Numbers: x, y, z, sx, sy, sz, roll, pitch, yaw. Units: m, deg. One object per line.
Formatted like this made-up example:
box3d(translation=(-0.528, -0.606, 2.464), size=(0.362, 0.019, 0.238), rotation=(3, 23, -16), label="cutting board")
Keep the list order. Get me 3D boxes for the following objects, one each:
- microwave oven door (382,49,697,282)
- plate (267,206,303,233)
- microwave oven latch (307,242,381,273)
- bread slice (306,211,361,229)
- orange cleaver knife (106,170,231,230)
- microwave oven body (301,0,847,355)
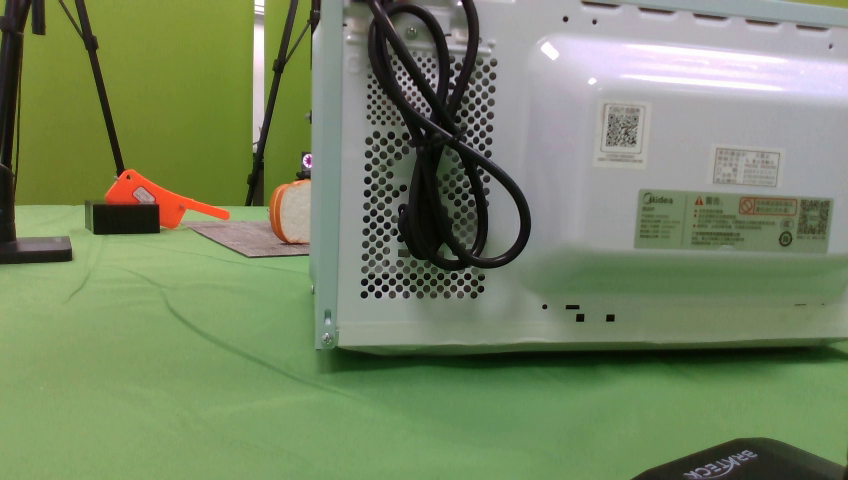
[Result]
box3d(translation=(0.135, -0.077, 0.685), size=(0.357, 0.243, 0.039), rotation=(1, 8, -12), label="microwave oven door")
box3d(translation=(-0.197, -0.039, 1.175), size=(0.208, 0.039, 0.207), rotation=(2, 7, 0), label="plate")
box3d(translation=(-0.086, 0.019, 0.655), size=(0.079, 0.029, 0.030), rotation=(2, 7, -9), label="microwave oven latch")
box3d(translation=(-0.173, -0.040, 1.173), size=(0.107, 0.018, 0.134), rotation=(-1, 10, -8), label="bread slice")
box3d(translation=(-0.458, -0.060, 1.097), size=(0.212, 0.077, 0.012), rotation=(23, -5, -38), label="orange cleaver knife")
box3d(translation=(0.120, -0.053, 0.535), size=(0.443, 0.260, 0.325), rotation=(2, 7, -11), label="microwave oven body")
